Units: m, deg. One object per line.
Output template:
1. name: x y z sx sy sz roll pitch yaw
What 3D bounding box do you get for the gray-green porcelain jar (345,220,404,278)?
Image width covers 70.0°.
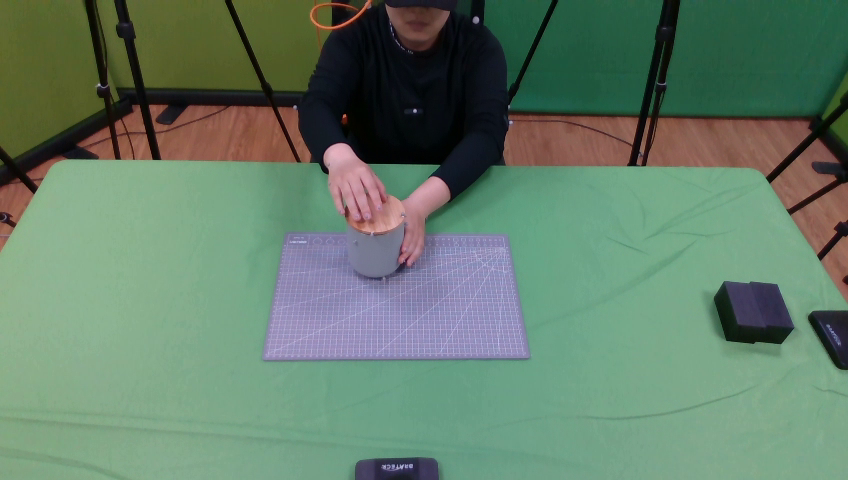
1. gray-green porcelain jar: -0.091 -0.001 1.117 0.106 0.127 0.105 2 46 -2

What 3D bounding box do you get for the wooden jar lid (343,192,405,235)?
1. wooden jar lid: -0.088 -0.044 1.072 0.108 0.021 0.107 3 45 -3
